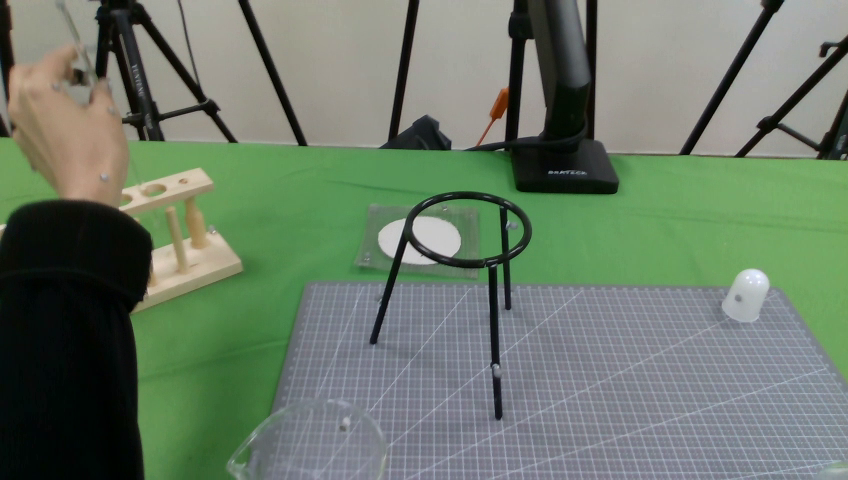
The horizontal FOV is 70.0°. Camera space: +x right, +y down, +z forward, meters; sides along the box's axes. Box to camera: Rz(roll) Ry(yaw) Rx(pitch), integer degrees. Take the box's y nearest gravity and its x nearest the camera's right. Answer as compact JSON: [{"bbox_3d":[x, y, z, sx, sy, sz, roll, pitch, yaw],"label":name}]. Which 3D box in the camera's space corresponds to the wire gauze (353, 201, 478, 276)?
[{"bbox_3d":[-0.006,-0.006,0.632,0.125,0.011,0.120,3,35,4],"label":"wire gauze"}]

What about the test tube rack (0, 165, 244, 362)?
[{"bbox_3d":[-0.290,0.019,0.523,0.243,0.086,0.066,-23,43,-29],"label":"test tube rack"}]

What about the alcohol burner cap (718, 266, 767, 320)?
[{"bbox_3d":[0.285,0.044,0.538,0.034,0.048,0.033,1,37,0],"label":"alcohol burner cap"}]

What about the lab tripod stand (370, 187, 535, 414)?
[{"bbox_3d":[0.027,0.038,0.462,0.148,0.132,0.147,0,38,1],"label":"lab tripod stand"}]

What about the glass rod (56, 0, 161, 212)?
[{"bbox_3d":[-0.250,-0.100,0.491,0.008,0.201,0.008,-2,43,2],"label":"glass rod"}]

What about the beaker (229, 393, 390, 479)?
[{"bbox_3d":[-0.059,0.148,0.341,0.084,0.101,0.073,-1,37,-1],"label":"beaker"}]

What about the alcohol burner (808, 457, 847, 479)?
[{"bbox_3d":[0.262,0.147,0.338,0.078,0.120,0.077,1,35,0],"label":"alcohol burner"}]
